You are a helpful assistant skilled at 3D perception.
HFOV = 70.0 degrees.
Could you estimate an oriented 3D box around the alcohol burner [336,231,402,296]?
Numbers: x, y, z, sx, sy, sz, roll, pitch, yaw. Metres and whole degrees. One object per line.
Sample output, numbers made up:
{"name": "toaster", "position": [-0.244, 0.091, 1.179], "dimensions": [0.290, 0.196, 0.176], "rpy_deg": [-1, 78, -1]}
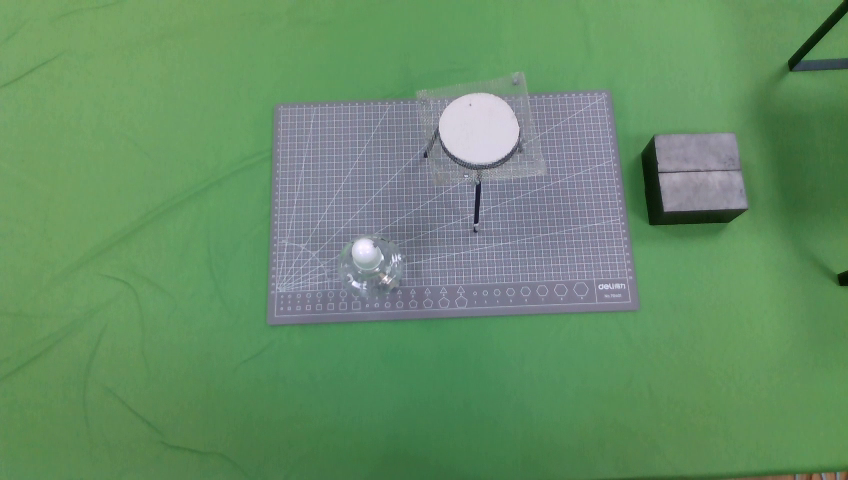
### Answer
{"name": "alcohol burner", "position": [-0.064, 0.022, 0.693], "dimensions": [0.078, 0.120, 0.077], "rpy_deg": [0, 73, -1]}

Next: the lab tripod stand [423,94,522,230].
{"name": "lab tripod stand", "position": [0.064, -0.103, 0.717], "dimensions": [0.148, 0.132, 0.147], "rpy_deg": [0, 72, 1]}

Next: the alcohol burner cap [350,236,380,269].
{"name": "alcohol burner cap", "position": [-0.065, 0.011, 0.658], "dimensions": [0.034, 0.048, 0.033], "rpy_deg": [0, 77, -1]}

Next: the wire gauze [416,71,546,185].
{"name": "wire gauze", "position": [0.060, -0.120, 0.652], "dimensions": [0.125, 0.011, 0.120], "rpy_deg": [-8, 74, -3]}
